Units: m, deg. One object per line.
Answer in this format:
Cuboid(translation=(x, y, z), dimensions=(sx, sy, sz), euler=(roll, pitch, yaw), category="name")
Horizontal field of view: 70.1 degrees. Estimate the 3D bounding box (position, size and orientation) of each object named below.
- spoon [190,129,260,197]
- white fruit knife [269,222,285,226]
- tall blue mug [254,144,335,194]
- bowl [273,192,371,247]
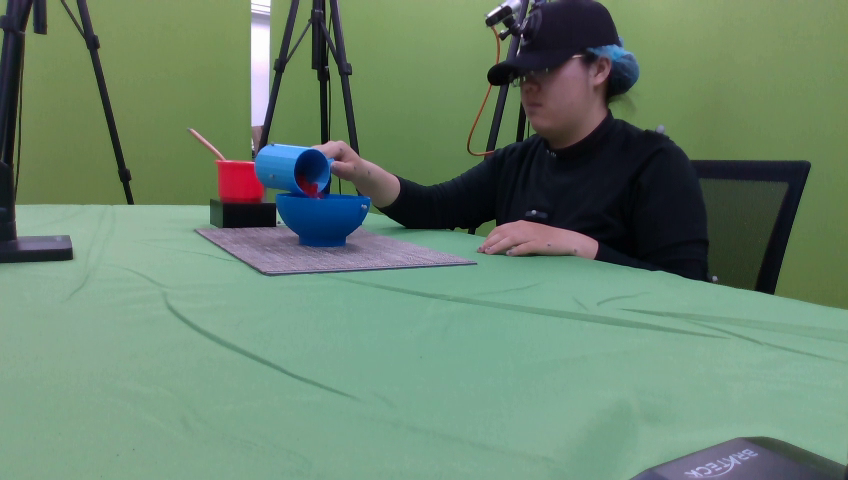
Cuboid(translation=(-0.388, -0.150, 1.174), dimensions=(0.193, 0.021, 0.042), euler=(48, 19, 7), category="spoon")
Cuboid(translation=(-0.222, -0.037, 1.261), dimensions=(0.208, 0.016, 0.027), euler=(-4, -17, -32), category="white fruit knife")
Cuboid(translation=(-0.212, -0.130, 1.018), dimensions=(0.107, 0.078, 0.107), euler=(11, 53, 40), category="tall blue mug")
Cuboid(translation=(-0.161, -0.032, 0.959), dimensions=(0.151, 0.077, 0.151), euler=(3, 7, 0), category="bowl")
